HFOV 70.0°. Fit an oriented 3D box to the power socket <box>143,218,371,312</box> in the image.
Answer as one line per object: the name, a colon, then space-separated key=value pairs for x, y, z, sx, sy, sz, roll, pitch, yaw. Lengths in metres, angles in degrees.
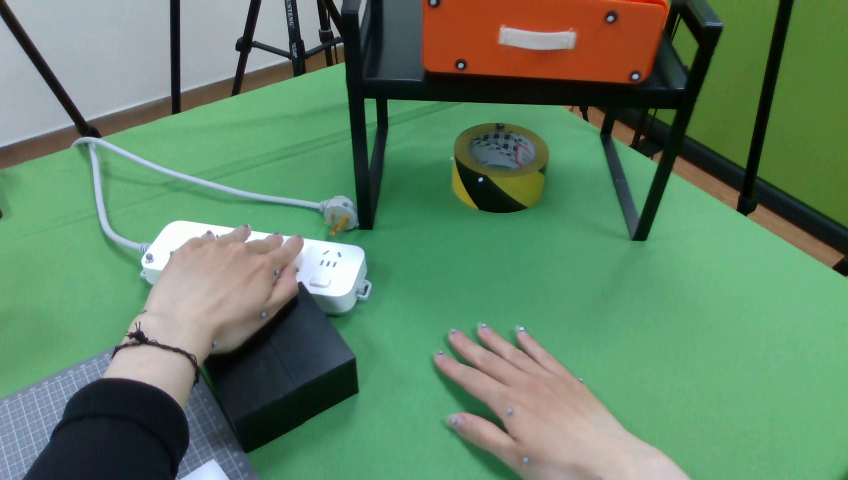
power socket: x=-0.165 y=0.022 z=0.598 sx=0.226 sy=0.033 sz=0.071 roll=8 pitch=43 yaw=7

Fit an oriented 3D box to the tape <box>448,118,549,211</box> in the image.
tape: x=0.087 y=-0.090 z=0.710 sx=0.117 sy=0.053 sz=0.115 roll=1 pitch=44 yaw=0

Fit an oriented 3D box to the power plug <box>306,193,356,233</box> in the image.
power plug: x=-0.104 y=-0.024 z=0.663 sx=0.072 sy=0.035 sz=0.052 roll=-20 pitch=30 yaw=36

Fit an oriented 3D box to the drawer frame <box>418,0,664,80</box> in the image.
drawer frame: x=0.101 y=-0.243 z=0.588 sx=0.201 sy=0.083 sz=0.211 roll=3 pitch=43 yaw=2

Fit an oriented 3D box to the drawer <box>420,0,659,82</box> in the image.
drawer: x=0.102 y=-0.238 z=0.585 sx=0.194 sy=0.074 sz=0.210 roll=4 pitch=43 yaw=3
